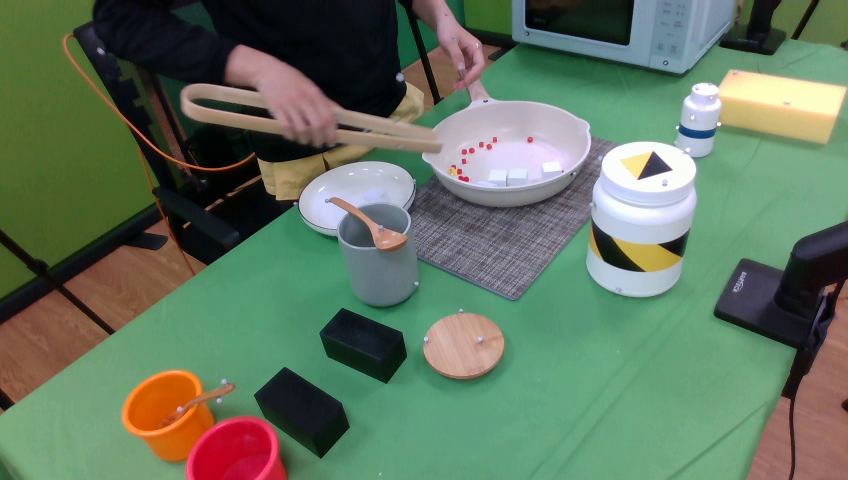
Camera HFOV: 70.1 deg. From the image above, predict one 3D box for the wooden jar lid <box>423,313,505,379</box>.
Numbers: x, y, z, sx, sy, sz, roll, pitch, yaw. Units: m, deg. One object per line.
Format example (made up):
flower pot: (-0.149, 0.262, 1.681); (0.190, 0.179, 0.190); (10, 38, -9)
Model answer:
wooden jar lid: (0.053, 0.142, 0.800); (0.108, 0.021, 0.108); (-5, 39, 4)

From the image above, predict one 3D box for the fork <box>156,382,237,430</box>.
fork: (-0.262, 0.189, 0.690); (0.206, 0.018, 0.028); (-34, 9, 42)

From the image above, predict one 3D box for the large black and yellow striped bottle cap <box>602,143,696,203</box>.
large black and yellow striped bottle cap: (0.289, -0.088, 0.779); (0.115, 0.019, 0.114); (-5, 39, 4)

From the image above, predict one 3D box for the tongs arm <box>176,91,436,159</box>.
tongs arm: (-0.169, -0.167, 0.910); (0.390, 0.028, 0.028); (9, 54, -15)

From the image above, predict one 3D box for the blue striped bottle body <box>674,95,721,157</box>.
blue striped bottle body: (0.486, -0.213, 1.071); (0.063, 0.121, 0.063); (-4, 41, 4)

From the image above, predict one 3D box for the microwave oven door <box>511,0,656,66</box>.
microwave oven door: (0.350, -0.539, 1.349); (0.353, 0.245, 0.039); (24, 50, 31)

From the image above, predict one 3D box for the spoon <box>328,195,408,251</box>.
spoon: (-0.083, -0.029, 0.829); (0.042, 0.022, 0.192); (-32, 43, -21)

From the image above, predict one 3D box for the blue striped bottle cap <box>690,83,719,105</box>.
blue striped bottle cap: (0.481, -0.251, 1.038); (0.044, 0.021, 0.044); (-5, 40, 5)

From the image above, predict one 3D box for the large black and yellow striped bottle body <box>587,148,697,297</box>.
large black and yellow striped bottle body: (0.298, -0.026, 0.835); (0.131, 0.185, 0.130); (-4, 41, 4)

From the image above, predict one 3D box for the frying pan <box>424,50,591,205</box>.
frying pan: (0.127, -0.233, 1.155); (0.307, 0.103, 0.484); (-10, 49, -5)

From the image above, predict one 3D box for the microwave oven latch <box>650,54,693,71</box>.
microwave oven latch: (0.531, -0.386, 1.301); (0.078, 0.029, 0.030); (26, 51, 33)

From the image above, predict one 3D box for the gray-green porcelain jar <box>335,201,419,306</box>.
gray-green porcelain jar: (-0.064, 0.024, 0.872); (0.106, 0.127, 0.105); (-4, 41, 4)

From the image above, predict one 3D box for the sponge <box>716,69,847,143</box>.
sponge: (0.663, -0.256, 1.142); (0.205, 0.061, 0.118); (19, 47, 28)

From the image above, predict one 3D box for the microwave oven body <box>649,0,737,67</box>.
microwave oven body: (0.475, -0.602, 1.411); (0.438, 0.261, 0.327); (23, 50, 32)

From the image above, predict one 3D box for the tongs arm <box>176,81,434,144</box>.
tongs arm: (-0.171, -0.186, 0.925); (0.387, 0.026, 0.050); (12, 50, -13)

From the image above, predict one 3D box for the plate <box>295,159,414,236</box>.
plate: (-0.118, -0.070, 1.055); (0.207, 0.039, 0.206); (-5, 40, 5)
